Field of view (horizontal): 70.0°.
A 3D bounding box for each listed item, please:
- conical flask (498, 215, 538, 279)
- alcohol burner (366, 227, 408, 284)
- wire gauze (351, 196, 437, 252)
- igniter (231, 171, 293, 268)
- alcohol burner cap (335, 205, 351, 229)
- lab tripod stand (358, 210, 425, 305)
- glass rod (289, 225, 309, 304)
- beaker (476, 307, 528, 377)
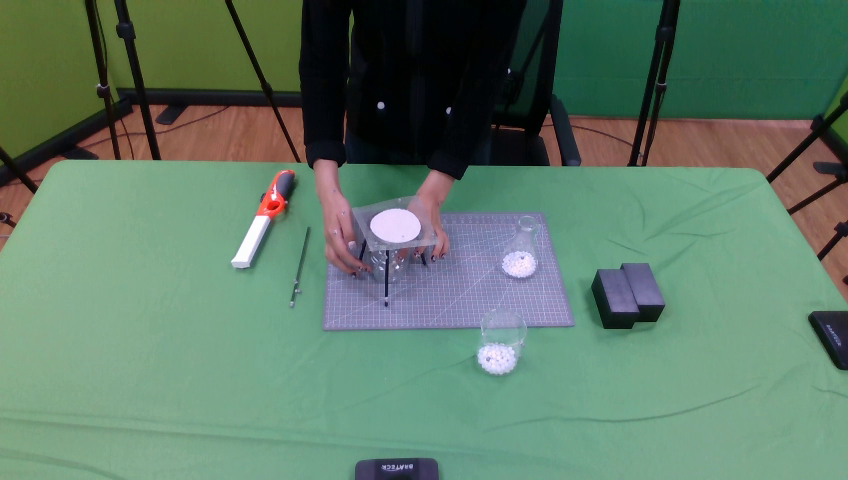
[{"bbox_3d":[0.183,0.010,1.131,0.075,0.122,0.075,2,46,-2],"label":"conical flask"},{"bbox_3d":[-0.068,0.023,1.105,0.078,0.120,0.077,1,46,-1],"label":"alcohol burner"},{"bbox_3d":[-0.053,-0.028,1.048,0.125,0.011,0.120,-10,46,-16],"label":"wire gauze"},{"bbox_3d":[-0.321,-0.051,1.220,0.057,0.025,0.275,1,45,11],"label":"igniter"},{"bbox_3d":[-0.164,-0.049,1.216,0.034,0.048,0.033,2,45,-2],"label":"alcohol burner cap"},{"bbox_3d":[-0.060,0.020,1.094,0.148,0.132,0.147,3,44,-2],"label":"lab tripod stand"},{"bbox_3d":[-0.235,0.042,1.149,0.008,0.008,0.198,3,46,-1],"label":"glass rod"},{"bbox_3d":[0.122,0.171,0.991,0.084,0.101,0.073,-34,56,-30],"label":"beaker"}]
